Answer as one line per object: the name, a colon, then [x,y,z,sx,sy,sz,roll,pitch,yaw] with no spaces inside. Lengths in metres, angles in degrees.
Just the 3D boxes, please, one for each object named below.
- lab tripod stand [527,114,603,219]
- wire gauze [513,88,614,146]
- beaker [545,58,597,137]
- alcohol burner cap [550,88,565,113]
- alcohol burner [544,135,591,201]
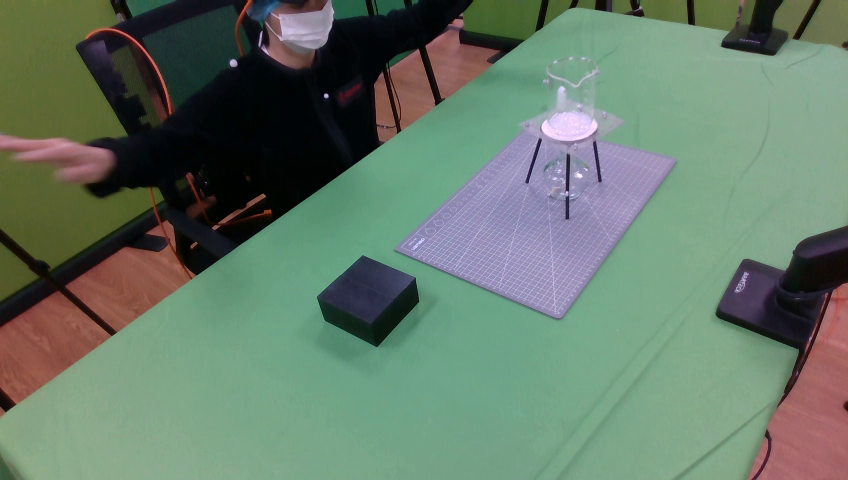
lab tripod stand: [0.234,-0.129,1.002,0.148,0.132,0.147,-6,40,6]
wire gauze: [0.220,-0.193,0.952,0.120,0.011,0.125,22,53,27]
beaker: [0.225,-0.215,0.927,0.074,0.101,0.083,-6,40,5]
alcohol burner cap: [0.281,-0.296,1.271,0.034,0.048,0.033,-5,41,5]
alcohol burner: [0.240,-0.125,1.012,0.078,0.119,0.077,-5,42,5]
